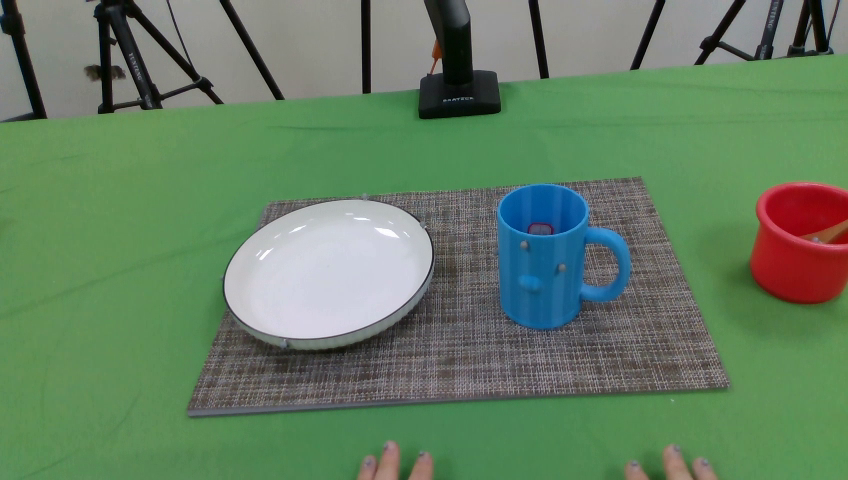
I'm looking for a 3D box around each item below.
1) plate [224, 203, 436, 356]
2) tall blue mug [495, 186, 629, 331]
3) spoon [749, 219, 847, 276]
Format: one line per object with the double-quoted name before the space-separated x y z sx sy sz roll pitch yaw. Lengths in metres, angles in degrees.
"plate" -0.090 0.038 0.604 0.207 0.039 0.205 -4 39 4
"tall blue mug" 0.119 0.016 0.540 0.107 0.109 0.077 -8 38 0
"spoon" 0.376 -0.017 0.517 0.022 0.194 0.041 37 42 -18
